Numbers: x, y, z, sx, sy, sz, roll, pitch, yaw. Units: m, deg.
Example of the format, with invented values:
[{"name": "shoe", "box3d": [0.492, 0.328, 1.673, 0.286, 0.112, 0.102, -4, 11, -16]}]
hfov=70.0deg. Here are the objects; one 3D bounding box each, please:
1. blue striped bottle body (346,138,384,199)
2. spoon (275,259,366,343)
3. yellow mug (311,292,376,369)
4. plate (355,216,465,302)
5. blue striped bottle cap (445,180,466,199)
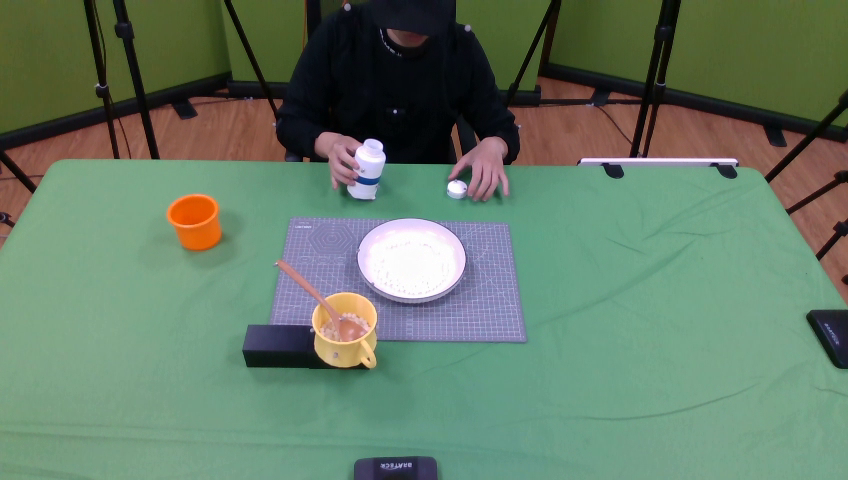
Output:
[{"name": "blue striped bottle body", "box3d": [-0.120, -0.150, 1.254, 0.063, 0.121, 0.062, 13, 38, -10]}, {"name": "spoon", "box3d": [-0.161, 0.098, 0.946, 0.194, 0.021, 0.041, 48, 56, -5]}, {"name": "yellow mug", "box3d": [-0.115, 0.149, 0.945, 0.100, 0.064, 0.130, -30, 57, -28]}, {"name": "plate", "box3d": [-0.027, 0.039, 1.144, 0.208, 0.039, 0.206, 2, 46, -2]}, {"name": "blue striped bottle cap", "box3d": [0.069, -0.110, 1.313, 0.044, 0.021, 0.044, 3, 45, -3]}]
